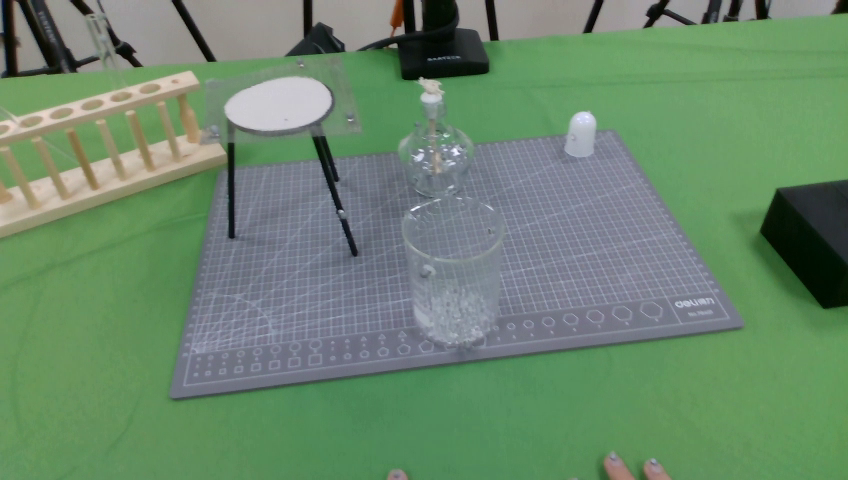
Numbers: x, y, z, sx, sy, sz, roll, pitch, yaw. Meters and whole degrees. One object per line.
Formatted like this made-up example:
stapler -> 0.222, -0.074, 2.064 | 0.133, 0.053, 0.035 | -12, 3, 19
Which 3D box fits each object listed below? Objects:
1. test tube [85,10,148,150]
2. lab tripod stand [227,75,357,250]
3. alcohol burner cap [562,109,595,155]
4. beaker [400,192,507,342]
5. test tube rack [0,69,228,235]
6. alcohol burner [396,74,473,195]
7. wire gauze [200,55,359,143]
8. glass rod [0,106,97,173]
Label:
test tube -> -0.314, -0.159, 0.624 | 0.017, 0.151, 0.017 | -1, 39, 1
lab tripod stand -> -0.120, -0.068, 0.549 | 0.148, 0.133, 0.147 | -2, 44, 2
alcohol burner cap -> 0.169, -0.120, 0.660 | 0.034, 0.048, 0.033 | -1, 42, 2
beaker -> 0.020, 0.023, 0.468 | 0.083, 0.101, 0.074 | 27, 50, 29
test tube rack -> -0.341, -0.094, 0.629 | 0.243, 0.086, 0.066 | -23, 46, -21
alcohol burner -> 0.009, -0.106, 0.598 | 0.078, 0.120, 0.077 | -3, 41, 3
wire gauze -> -0.123, -0.118, 0.504 | 0.125, 0.011, 0.120 | -10, 43, -8
glass rod -> -0.400, -0.121, 0.577 | 0.008, 0.202, 0.008 | -16, 54, 23
